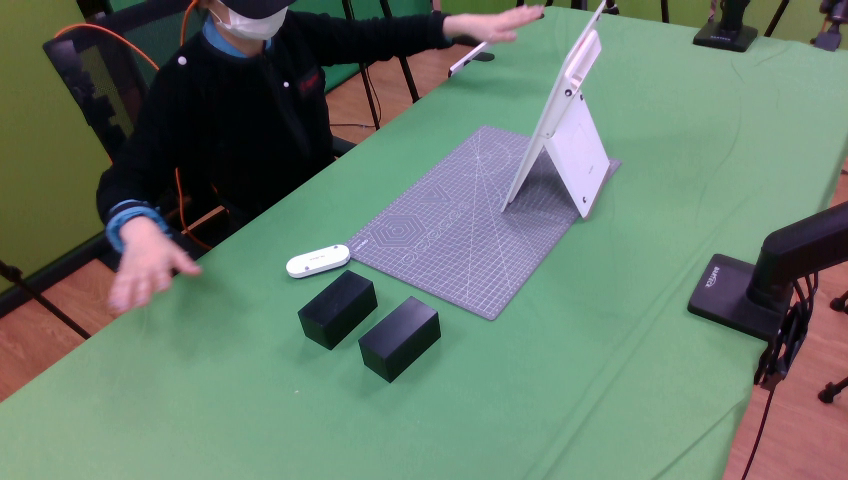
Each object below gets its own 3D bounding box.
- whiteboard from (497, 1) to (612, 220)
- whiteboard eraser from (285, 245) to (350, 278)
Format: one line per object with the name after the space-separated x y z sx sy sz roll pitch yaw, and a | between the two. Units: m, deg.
0.260 -0.178 0.963 0.143 0.306 0.217 28 49 9 | whiteboard
-0.168 0.033 0.954 0.101 0.019 0.041 -15 41 -9 | whiteboard eraser
